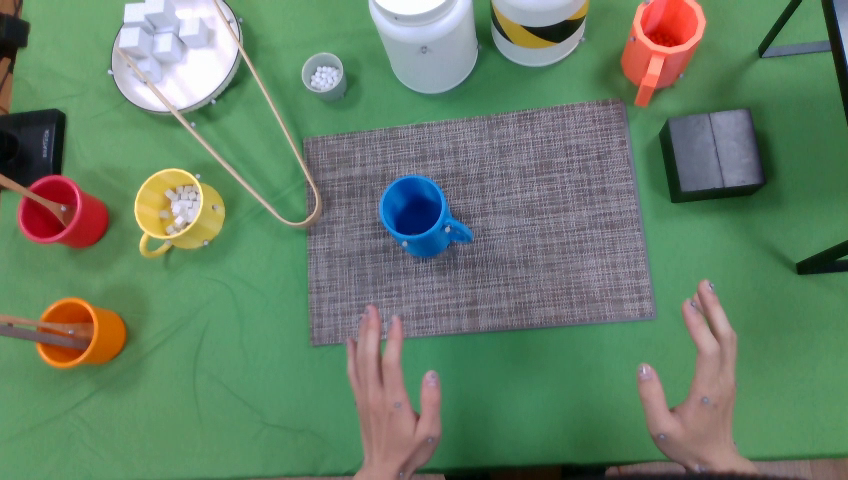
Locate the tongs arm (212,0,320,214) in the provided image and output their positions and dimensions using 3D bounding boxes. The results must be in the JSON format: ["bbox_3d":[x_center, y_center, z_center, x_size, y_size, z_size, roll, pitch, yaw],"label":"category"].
[{"bbox_3d":[-0.236,-0.212,0.866,0.028,0.028,0.386,-28,83,-7],"label":"tongs arm"}]

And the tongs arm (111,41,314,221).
[{"bbox_3d":[-0.303,-0.161,0.861,0.051,0.026,0.383,-42,83,-6],"label":"tongs arm"}]

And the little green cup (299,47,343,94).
[{"bbox_3d":[-0.146,-0.243,0.877,0.061,0.039,0.061,-1,79,7],"label":"little green cup"}]

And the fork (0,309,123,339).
[{"bbox_3d":[-0.509,0.104,0.795,0.209,0.018,0.028,17,76,-34],"label":"fork"}]

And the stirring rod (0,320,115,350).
[{"bbox_3d":[-0.500,0.122,0.793,0.006,0.178,0.014,-27,52,46],"label":"stirring rod"}]

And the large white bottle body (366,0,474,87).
[{"bbox_3d":[-0.003,-0.300,0.794,0.130,0.185,0.130,-2,77,8],"label":"large white bottle body"}]

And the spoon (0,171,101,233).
[{"bbox_3d":[-0.548,-0.069,0.841,0.195,0.021,0.041,35,81,-31],"label":"spoon"}]

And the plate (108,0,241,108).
[{"bbox_3d":[-0.373,-0.293,0.919,0.207,0.039,0.206,-2,79,7],"label":"plate"}]

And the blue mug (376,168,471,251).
[{"bbox_3d":[0.005,-0.031,0.774,0.116,0.106,0.082,20,81,12],"label":"blue mug"}]

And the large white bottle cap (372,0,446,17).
[{"bbox_3d":[-0.016,-0.318,0.712,0.114,0.018,0.114,-2,78,8],"label":"large white bottle cap"}]

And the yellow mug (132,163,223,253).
[{"bbox_3d":[-0.353,-0.037,0.848,0.099,0.064,0.130,33,85,12],"label":"yellow mug"}]

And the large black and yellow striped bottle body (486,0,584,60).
[{"bbox_3d":[0.145,-0.333,0.781,0.130,0.185,0.130,-2,77,8],"label":"large black and yellow striped bottle body"}]

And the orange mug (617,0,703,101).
[{"bbox_3d":[0.299,-0.251,0.787,0.083,0.101,0.126,17,77,12],"label":"orange mug"}]
